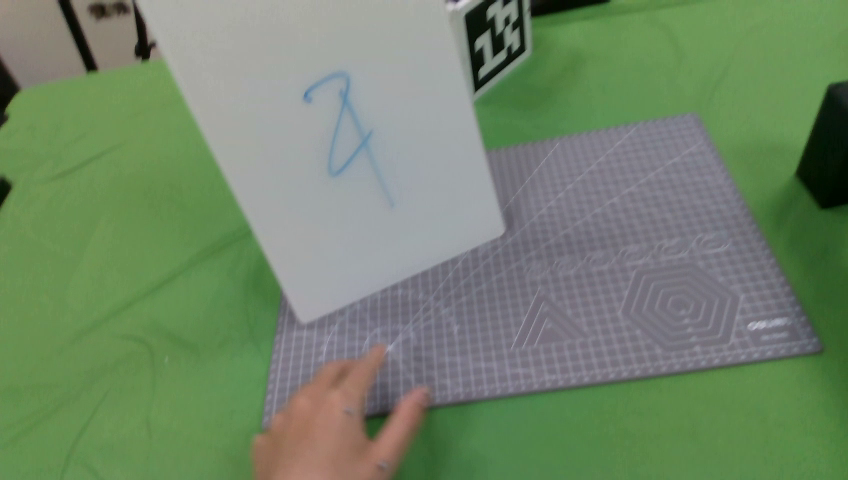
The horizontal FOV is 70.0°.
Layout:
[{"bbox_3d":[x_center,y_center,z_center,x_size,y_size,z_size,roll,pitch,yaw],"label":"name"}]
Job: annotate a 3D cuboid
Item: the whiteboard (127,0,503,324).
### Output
[{"bbox_3d":[-0.085,-0.119,0.562,0.217,0.308,0.142,-24,29,-7],"label":"whiteboard"}]
